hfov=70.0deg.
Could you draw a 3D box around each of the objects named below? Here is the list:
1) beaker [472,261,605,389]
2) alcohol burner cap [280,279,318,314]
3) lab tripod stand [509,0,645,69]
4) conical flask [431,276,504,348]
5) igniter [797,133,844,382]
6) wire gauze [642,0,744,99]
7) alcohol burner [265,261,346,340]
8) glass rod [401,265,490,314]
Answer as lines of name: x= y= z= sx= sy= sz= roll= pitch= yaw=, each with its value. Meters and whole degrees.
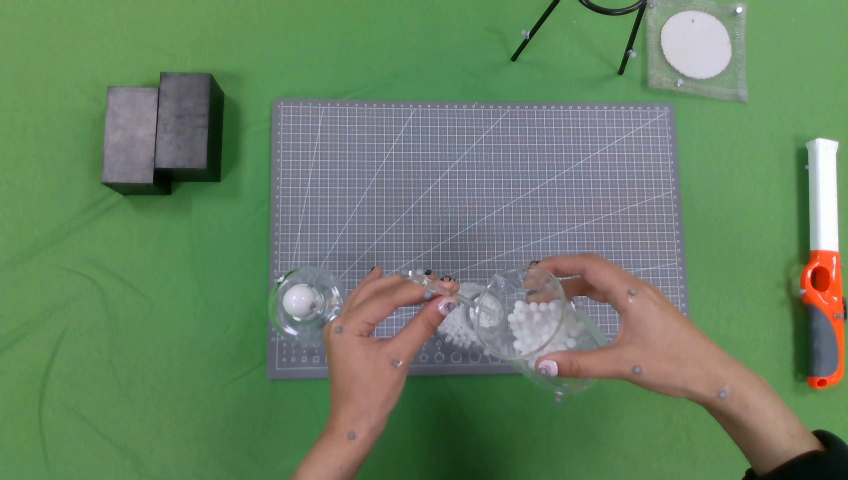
beaker: x=0.092 y=0.069 z=0.475 sx=0.074 sy=0.101 sz=0.083 roll=-39 pitch=45 yaw=11
alcohol burner cap: x=-0.113 y=0.050 z=0.542 sx=0.034 sy=0.048 sz=0.034 roll=1 pitch=85 yaw=-7
lab tripod stand: x=0.168 y=-0.247 z=0.634 sx=0.148 sy=0.131 sz=0.148 roll=0 pitch=84 yaw=-3
conical flask: x=0.048 y=0.067 z=0.584 sx=0.075 sy=0.122 sz=0.075 roll=1 pitch=81 yaw=-4
igniter: x=0.438 y=0.017 z=0.670 sx=0.057 sy=0.025 sz=0.275 roll=7 pitch=82 yaw=-14
wire gauze: x=0.314 y=-0.231 z=0.706 sx=0.125 sy=0.011 sz=0.121 roll=6 pitch=82 yaw=-5
alcohol burner: x=-0.115 y=0.056 z=0.578 sx=0.078 sy=0.119 sz=0.077 roll=0 pitch=81 yaw=-2
glass rod: x=0.023 y=0.041 z=0.469 sx=0.008 sy=0.201 sz=0.008 roll=-5 pitch=74 yaw=20
